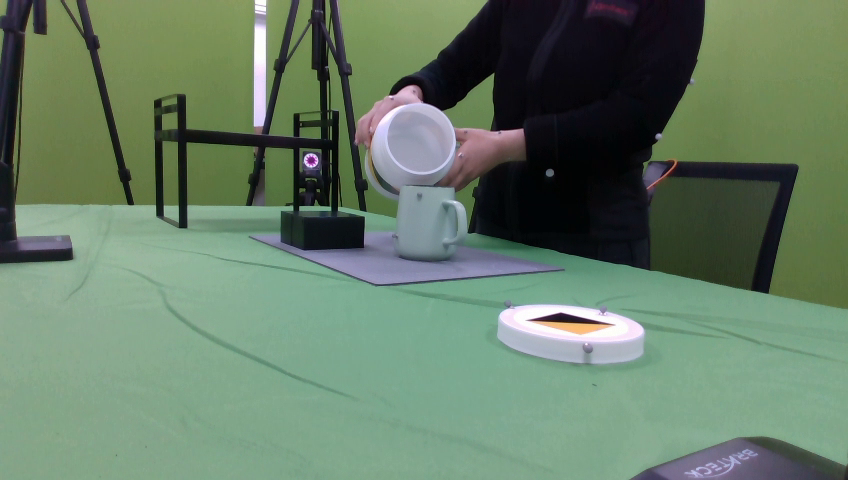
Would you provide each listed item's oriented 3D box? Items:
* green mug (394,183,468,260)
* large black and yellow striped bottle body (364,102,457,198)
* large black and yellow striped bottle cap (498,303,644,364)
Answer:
[{"bbox_3d":[0.015,-0.026,0.857,0.093,0.105,0.124,-4,9,-41],"label":"green mug"},{"bbox_3d":[-0.022,-0.142,0.967,0.131,0.130,0.183,1,-4,-12],"label":"large black and yellow striped bottle body"},{"bbox_3d":[0.117,0.072,0.486,0.115,0.019,0.115,1,8,0],"label":"large black and yellow striped bottle cap"}]
